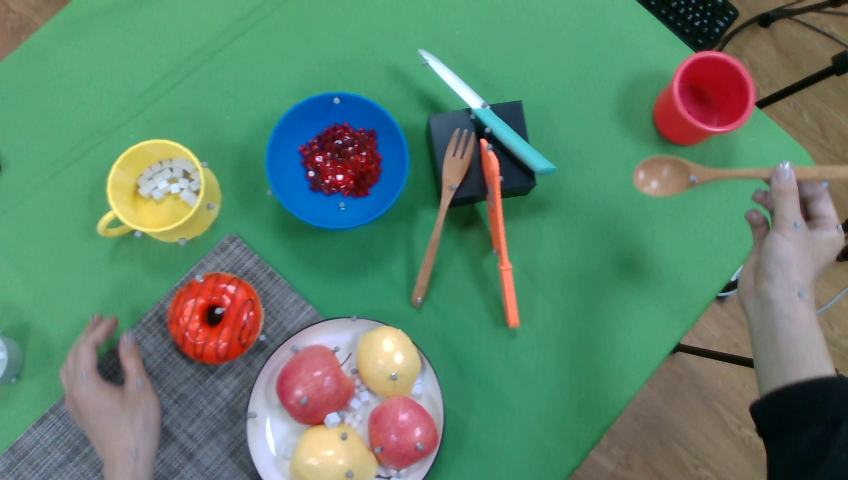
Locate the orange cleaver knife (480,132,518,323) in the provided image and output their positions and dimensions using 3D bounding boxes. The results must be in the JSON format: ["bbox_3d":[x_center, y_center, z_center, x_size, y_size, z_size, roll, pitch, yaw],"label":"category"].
[{"bbox_3d":[0.082,-0.012,0.673,0.012,0.076,0.212,-11,108,-1],"label":"orange cleaver knife"}]

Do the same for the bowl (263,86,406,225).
[{"bbox_3d":[-0.095,-0.084,0.673,0.151,0.077,0.151,1,82,-5],"label":"bowl"}]

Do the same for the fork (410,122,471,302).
[{"bbox_3d":[0.015,-0.027,0.667,0.028,0.018,0.208,13,101,-10],"label":"fork"}]

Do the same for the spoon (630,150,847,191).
[{"bbox_3d":[0.288,-0.065,0.559,0.192,0.022,0.041,5,88,40],"label":"spoon"}]

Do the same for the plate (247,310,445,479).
[{"bbox_3d":[-0.081,0.180,0.651,0.209,0.038,0.208,1,81,-4],"label":"plate"}]

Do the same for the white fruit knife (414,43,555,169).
[{"bbox_3d":[0.064,-0.150,0.676,0.207,0.016,0.027,44,52,5],"label":"white fruit knife"}]

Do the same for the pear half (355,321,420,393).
[{"bbox_3d":[-0.041,0.132,0.647,0.070,0.031,0.088,-17,93,16],"label":"pear half"}]

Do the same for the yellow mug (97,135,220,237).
[{"bbox_3d":[-0.294,-0.048,0.658,0.131,0.064,0.100,-36,85,-8],"label":"yellow mug"}]

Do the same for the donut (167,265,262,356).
[{"bbox_3d":[-0.224,0.076,0.652,0.099,0.048,0.099,0,84,-3],"label":"donut"}]

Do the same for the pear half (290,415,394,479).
[{"bbox_3d":[-0.081,0.227,0.630,0.110,0.056,0.076,17,85,-5],"label":"pear half"}]

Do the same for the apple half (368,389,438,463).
[{"bbox_3d":[-0.029,0.198,0.635,0.081,0.033,0.081,1,96,14],"label":"apple half"}]

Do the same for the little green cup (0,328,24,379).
[{"bbox_3d":[-0.457,0.120,0.635,0.061,0.039,0.061,1,81,-3],"label":"little green cup"}]

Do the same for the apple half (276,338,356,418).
[{"bbox_3d":[-0.116,0.147,0.635,0.074,0.053,0.080,-29,87,-7],"label":"apple half"}]
